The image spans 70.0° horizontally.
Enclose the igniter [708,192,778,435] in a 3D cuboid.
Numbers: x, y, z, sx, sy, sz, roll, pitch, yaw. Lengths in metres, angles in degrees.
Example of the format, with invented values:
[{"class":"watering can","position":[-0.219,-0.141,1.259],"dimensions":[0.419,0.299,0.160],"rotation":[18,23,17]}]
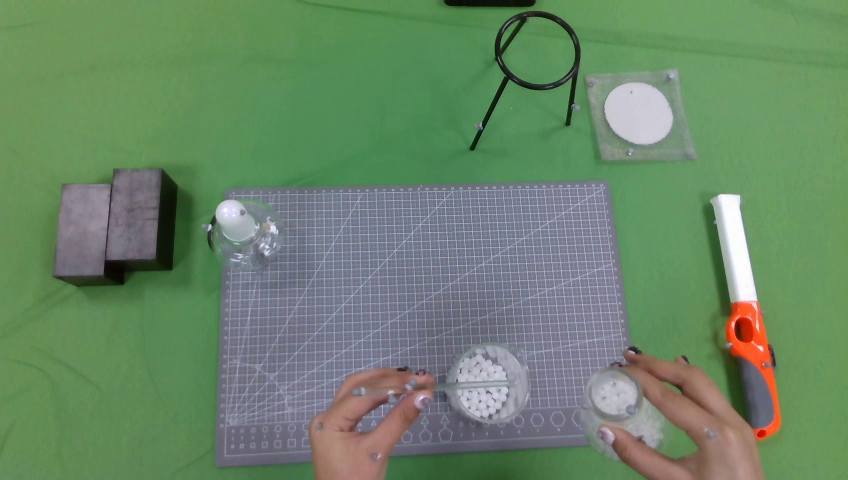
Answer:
[{"class":"igniter","position":[0.362,0.078,0.690],"dimensions":[0.057,0.025,0.275],"rotation":[1,75,-16]}]

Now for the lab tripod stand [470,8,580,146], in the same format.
[{"class":"lab tripod stand","position":[0.110,-0.178,0.682],"dimensions":[0.148,0.132,0.147],"rotation":[1,77,-4]}]

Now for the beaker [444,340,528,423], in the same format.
[{"class":"beaker","position":[0.060,0.141,0.611],"dimensions":[0.074,0.100,0.084],"rotation":[44,76,8]}]

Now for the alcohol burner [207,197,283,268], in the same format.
[{"class":"alcohol burner","position":[-0.188,-0.013,0.622],"dimensions":[0.078,0.119,0.077],"rotation":[1,76,-2]}]

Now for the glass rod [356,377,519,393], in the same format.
[{"class":"glass rod","position":[0.021,0.120,0.501],"dimensions":[0.201,0.008,0.008],"rotation":[11,68,-46]}]

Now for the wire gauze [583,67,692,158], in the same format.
[{"class":"wire gauze","position":[0.266,-0.158,0.754],"dimensions":[0.125,0.011,0.121],"rotation":[-3,76,-7]}]

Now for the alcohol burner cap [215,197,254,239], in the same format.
[{"class":"alcohol burner cap","position":[-0.186,-0.024,0.588],"dimensions":[0.034,0.048,0.033],"rotation":[2,68,-5]}]

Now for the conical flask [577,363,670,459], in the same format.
[{"class":"conical flask","position":[0.149,0.126,0.468],"dimensions":[0.075,0.123,0.075],"rotation":[-9,64,19]}]
